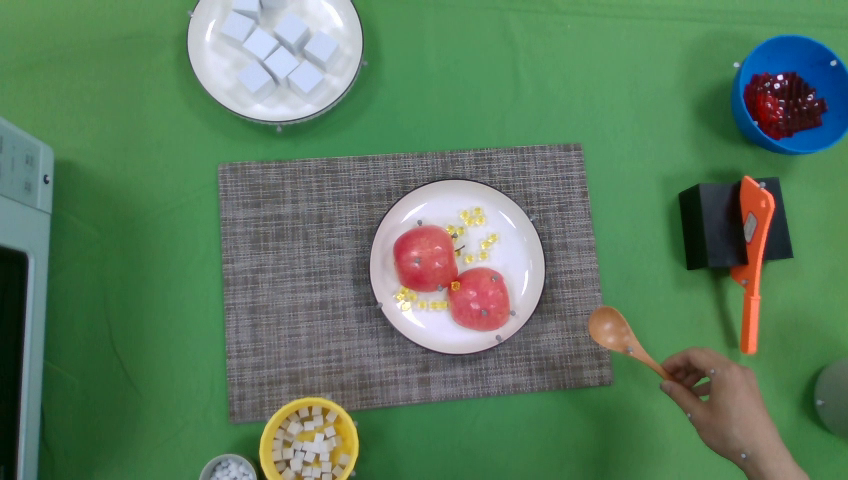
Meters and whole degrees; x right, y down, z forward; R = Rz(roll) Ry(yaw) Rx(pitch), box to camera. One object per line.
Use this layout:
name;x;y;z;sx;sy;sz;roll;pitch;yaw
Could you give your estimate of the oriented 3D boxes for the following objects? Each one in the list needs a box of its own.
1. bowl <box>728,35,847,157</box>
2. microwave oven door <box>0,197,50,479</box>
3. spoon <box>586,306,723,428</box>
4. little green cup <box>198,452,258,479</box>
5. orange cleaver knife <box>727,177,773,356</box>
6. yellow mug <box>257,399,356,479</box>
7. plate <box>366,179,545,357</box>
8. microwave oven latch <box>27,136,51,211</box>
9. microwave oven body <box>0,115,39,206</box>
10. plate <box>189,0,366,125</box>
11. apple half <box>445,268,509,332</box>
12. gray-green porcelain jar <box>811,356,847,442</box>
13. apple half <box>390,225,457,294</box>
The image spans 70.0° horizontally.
bowl;0.444;-0.169;0.764;0.151;0.077;0.151;1;82;-5
microwave oven door;-0.422;0.127;0.540;0.039;0.244;0.354;-1;81;-5
spoon;0.247;0.140;0.647;0.194;0.021;0.041;41;81;-1
little green cup;-0.211;0.261;0.660;0.061;0.038;0.061;1;83;-5
orange cleaver knife;0.384;0.033;0.726;0.012;0.077;0.212;-3;105;-1
yellow mug;-0.125;0.237;0.644;0.100;0.064;0.130;12;72;-3
plate;0.036;0.033;0.713;0.209;0.038;0.208;1;82;-5
microwave oven latch;-0.434;-0.073;0.672;0.030;0.029;0.079;0;82;-6
microwave oven body;-0.569;0.088;0.538;0.326;0.260;0.440;-1;82;-6
plate;-0.175;-0.236;0.739;0.208;0.039;0.207;1;81;-5
apple half;0.063;0.070;0.704;0.081;0.033;0.081;1;79;-3
gray-green porcelain jar;0.525;0.186;0.693;0.106;0.127;0.105;1;81;-5
apple half;-0.001;0.021;0.696;0.075;0.053;0.080;-6;82;-4
